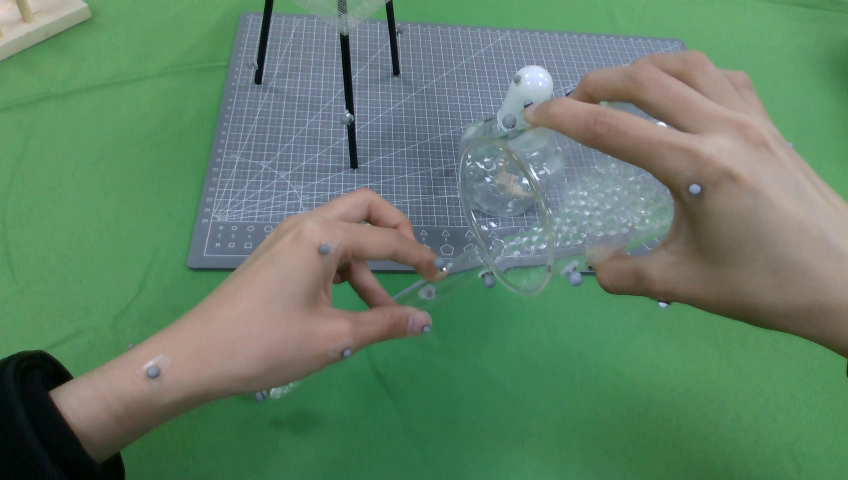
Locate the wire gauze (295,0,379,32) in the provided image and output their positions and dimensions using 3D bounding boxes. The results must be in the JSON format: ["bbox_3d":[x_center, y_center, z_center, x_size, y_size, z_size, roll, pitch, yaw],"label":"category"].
[{"bbox_3d":[-0.063,-0.197,0.408,0.124,0.011,0.121,34,57,15],"label":"wire gauze"}]

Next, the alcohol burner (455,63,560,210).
[{"bbox_3d":[0.064,-0.077,0.434,0.078,0.120,0.077,5,52,-6],"label":"alcohol burner"}]

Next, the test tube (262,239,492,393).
[{"bbox_3d":[-0.029,0.044,0.324,0.150,0.017,0.017,-33,56,16],"label":"test tube"}]

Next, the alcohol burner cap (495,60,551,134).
[{"bbox_3d":[0.068,-0.097,0.404,0.034,0.048,0.033,4,58,-5],"label":"alcohol burner cap"}]

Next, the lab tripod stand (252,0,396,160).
[{"bbox_3d":[-0.068,-0.157,0.462,0.149,0.132,0.147,5,54,-6],"label":"lab tripod stand"}]

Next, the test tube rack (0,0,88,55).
[{"bbox_3d":[-0.397,-0.174,0.463,0.066,0.086,0.241,33,56,16],"label":"test tube rack"}]

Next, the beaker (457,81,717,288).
[{"bbox_3d":[0.076,-0.028,0.285,0.100,0.084,0.073,-21,70,-18],"label":"beaker"}]
